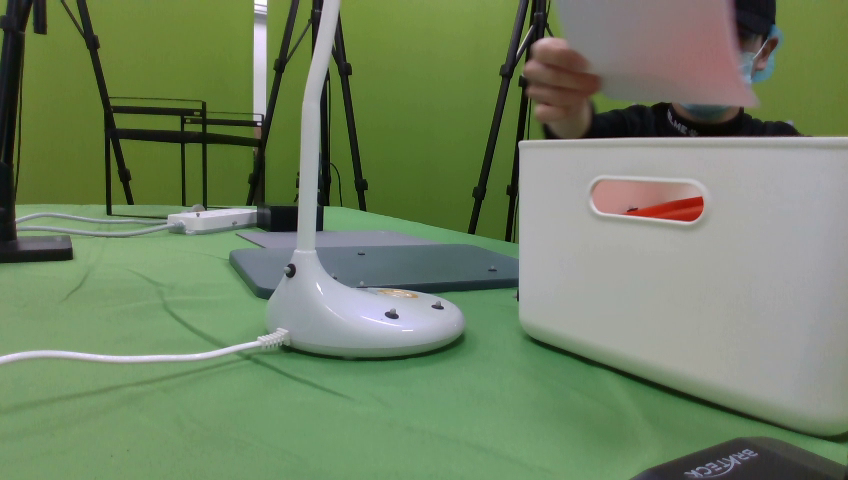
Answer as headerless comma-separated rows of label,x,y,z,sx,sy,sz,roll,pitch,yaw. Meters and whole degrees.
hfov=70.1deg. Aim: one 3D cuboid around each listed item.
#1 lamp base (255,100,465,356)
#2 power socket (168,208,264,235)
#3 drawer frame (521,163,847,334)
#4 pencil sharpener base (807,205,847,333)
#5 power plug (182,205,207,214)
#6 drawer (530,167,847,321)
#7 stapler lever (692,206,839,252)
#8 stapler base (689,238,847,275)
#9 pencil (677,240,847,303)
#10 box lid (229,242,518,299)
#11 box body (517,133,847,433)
lamp base,-0.051,-0.014,0.466,0.160,0.180,0.180,7,11,34
power socket,-0.381,-0.038,1.129,0.072,0.032,0.227,4,8,17
drawer frame,0.224,0.002,0.465,0.215,0.082,0.200,-14,2,-36
pencil sharpener base,0.385,0.027,0.519,0.062,0.107,0.076,-5,11,-43
power plug,-0.456,-0.041,1.195,0.052,0.035,0.072,0,39,24
drawer,0.225,0.004,0.468,0.213,0.073,0.193,-14,2,-36
stapler lever,0.266,-0.011,0.486,0.027,0.040,0.117,-15,2,-19
stapler base,0.270,0.013,0.488,0.041,0.024,0.130,-15,3,-19
pencil,0.248,0.018,0.464,0.012,0.012,0.193,1,10,-9
box lid,-0.041,0.033,0.765,0.373,0.015,0.262,-2,9,-25
box body,0.278,0.005,0.486,0.366,0.160,0.253,-3,9,-36
